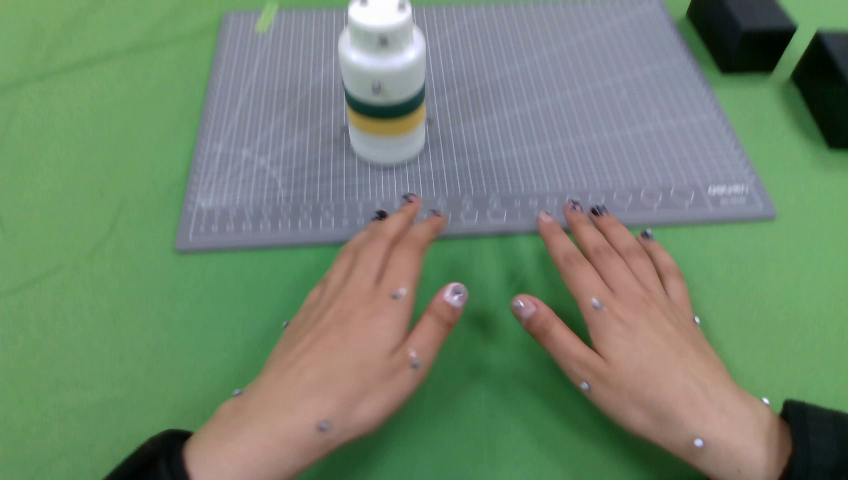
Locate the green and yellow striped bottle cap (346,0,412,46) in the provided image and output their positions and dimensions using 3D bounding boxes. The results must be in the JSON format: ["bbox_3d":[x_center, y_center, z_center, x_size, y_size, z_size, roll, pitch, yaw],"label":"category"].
[{"bbox_3d":[-0.031,-0.152,0.409,0.045,0.020,0.045,0,52,0],"label":"green and yellow striped bottle cap"}]

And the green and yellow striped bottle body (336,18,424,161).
[{"bbox_3d":[-0.031,-0.122,0.453,0.063,0.121,0.062,0,54,0],"label":"green and yellow striped bottle body"}]
